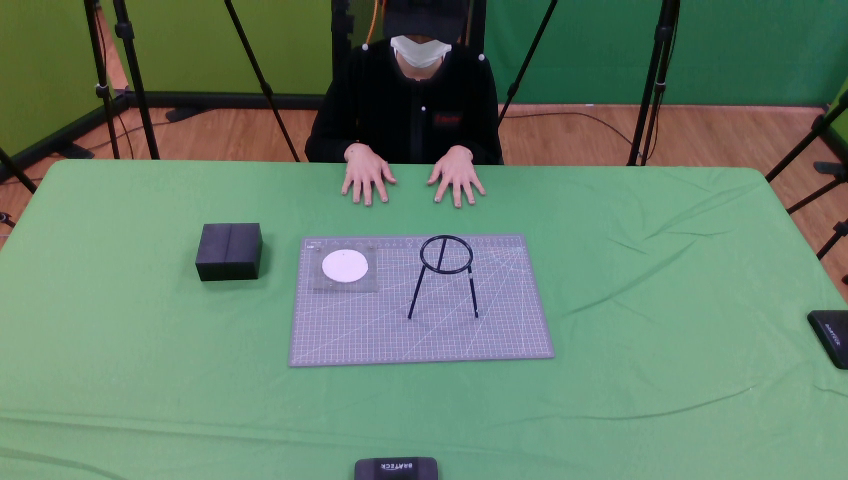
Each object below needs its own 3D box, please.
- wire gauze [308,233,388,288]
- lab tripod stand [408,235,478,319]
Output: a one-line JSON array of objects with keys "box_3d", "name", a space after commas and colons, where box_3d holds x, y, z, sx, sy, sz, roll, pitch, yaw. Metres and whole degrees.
[{"box_3d": [-0.144, 0.033, 1.140, 0.121, 0.011, 0.124, -16, 43, -16], "name": "wire gauze"}, {"box_3d": [0.032, 0.065, 1.057, 0.148, 0.132, 0.147, 1, 45, -1], "name": "lab tripod stand"}]
